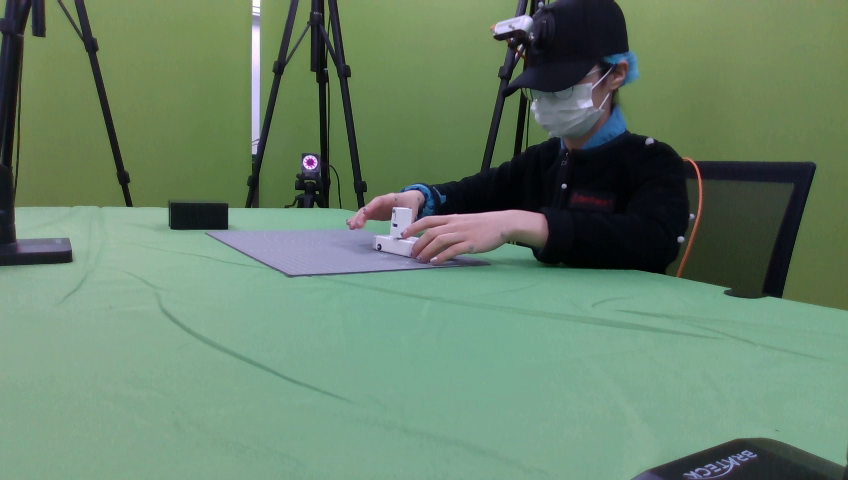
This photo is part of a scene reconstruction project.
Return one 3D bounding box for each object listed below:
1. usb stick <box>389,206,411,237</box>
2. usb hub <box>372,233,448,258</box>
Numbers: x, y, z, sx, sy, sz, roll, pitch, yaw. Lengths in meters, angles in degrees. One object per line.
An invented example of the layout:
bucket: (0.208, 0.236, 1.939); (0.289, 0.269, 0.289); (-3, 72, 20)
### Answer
usb stick: (-0.036, -0.022, 0.909); (0.027, 0.059, 0.021); (-6, 13, -44)
usb hub: (-0.023, 0.007, 0.918); (0.050, 0.025, 0.124); (-5, 10, -42)
